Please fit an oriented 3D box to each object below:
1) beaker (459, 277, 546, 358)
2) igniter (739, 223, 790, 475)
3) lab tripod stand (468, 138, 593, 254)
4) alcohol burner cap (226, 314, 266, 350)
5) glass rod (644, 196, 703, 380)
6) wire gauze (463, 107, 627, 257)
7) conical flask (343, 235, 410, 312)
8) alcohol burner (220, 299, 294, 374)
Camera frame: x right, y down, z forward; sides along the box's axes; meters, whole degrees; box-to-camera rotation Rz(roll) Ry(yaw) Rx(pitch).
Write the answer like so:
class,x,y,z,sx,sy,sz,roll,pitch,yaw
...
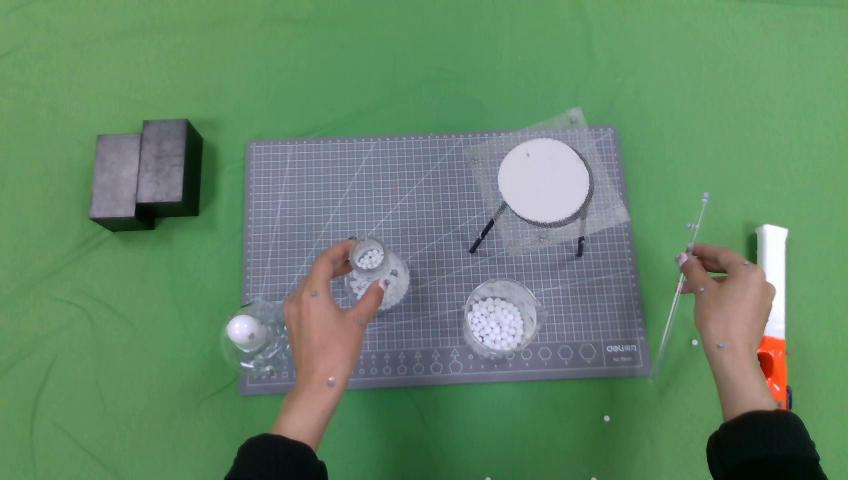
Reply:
class,x,y,z,sx,sy,sz,roll,pitch,yaw
beaker,0.076,0.084,0.629,0.084,0.101,0.073,-4,75,-2
igniter,0.373,0.115,0.663,0.057,0.025,0.275,12,75,-8
lab tripod stand,0.116,-0.037,0.644,0.148,0.132,0.147,0,77,0
alcohol burner cap,-0.173,0.086,0.582,0.034,0.048,0.033,2,73,-5
glass rod,0.257,0.051,0.627,0.008,0.008,0.200,14,99,3
wire gauze,0.115,-0.056,0.580,0.125,0.011,0.121,-19,78,-4
conical flask,-0.054,0.029,0.631,0.075,0.122,0.075,0,74,0
alcohol burner,-0.174,0.097,0.617,0.078,0.119,0.077,0,76,-2
